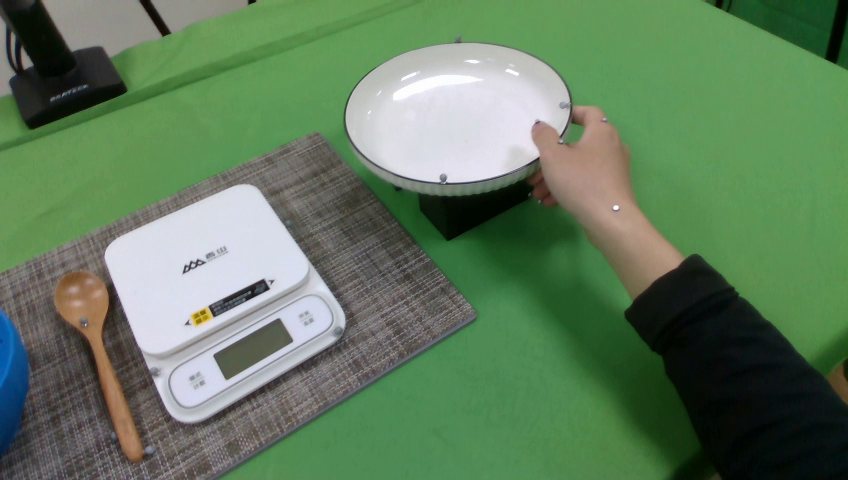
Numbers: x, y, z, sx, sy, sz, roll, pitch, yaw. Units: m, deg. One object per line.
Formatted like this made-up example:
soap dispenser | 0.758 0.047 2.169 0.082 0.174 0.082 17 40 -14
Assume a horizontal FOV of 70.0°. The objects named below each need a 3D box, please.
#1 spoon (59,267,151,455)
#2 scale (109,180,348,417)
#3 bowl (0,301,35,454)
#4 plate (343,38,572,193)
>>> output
spoon | -0.255 0.091 0.487 0.042 0.022 0.191 -18 49 -29
scale | -0.171 0.038 0.518 0.149 0.032 0.198 -30 54 -18
bowl | -0.347 0.119 0.435 0.151 0.077 0.150 -2 49 3
plate | 0.030 -0.115 0.562 0.209 0.038 0.207 -2 50 3
